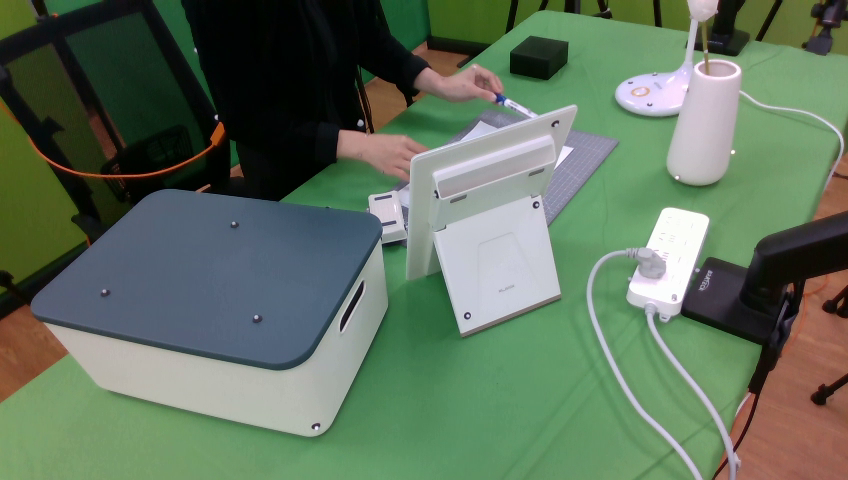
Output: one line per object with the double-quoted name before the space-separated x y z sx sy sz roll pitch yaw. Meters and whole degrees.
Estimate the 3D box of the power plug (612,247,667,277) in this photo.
"power plug" 0.306 0.031 0.852 0.072 0.053 0.035 21 48 37

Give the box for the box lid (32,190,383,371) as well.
"box lid" -0.257 0.032 0.750 0.370 0.015 0.263 7 41 16

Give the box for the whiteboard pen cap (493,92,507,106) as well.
"whiteboard pen cap" 0.155 -0.281 1.210 0.033 0.018 0.018 39 57 25

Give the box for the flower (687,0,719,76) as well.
"flower" 0.436 -0.242 0.934 0.038 0.364 0.043 -24 49 8

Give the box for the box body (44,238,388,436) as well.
"box body" -0.251 0.088 0.799 0.362 0.161 0.254 7 42 16

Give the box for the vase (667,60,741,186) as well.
"vase" 0.463 -0.189 0.994 0.098 0.201 0.097 -4 40 4

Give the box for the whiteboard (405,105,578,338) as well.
"whiteboard" 0.102 0.003 0.787 0.218 0.306 0.143 -19 62 -14

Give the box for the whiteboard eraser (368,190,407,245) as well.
"whiteboard eraser" -0.061 -0.035 1.006 0.056 0.042 0.112 -9 40 -3

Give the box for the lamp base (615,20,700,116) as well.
"lamp base" 0.484 -0.364 1.211 0.180 0.181 0.159 -15 41 -14

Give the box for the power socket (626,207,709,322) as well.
"power socket" 0.360 0.026 0.886 0.072 0.033 0.227 17 46 27

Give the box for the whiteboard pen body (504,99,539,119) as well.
"whiteboard pen body" 0.197 -0.250 1.184 0.140 0.017 0.017 37 56 26
